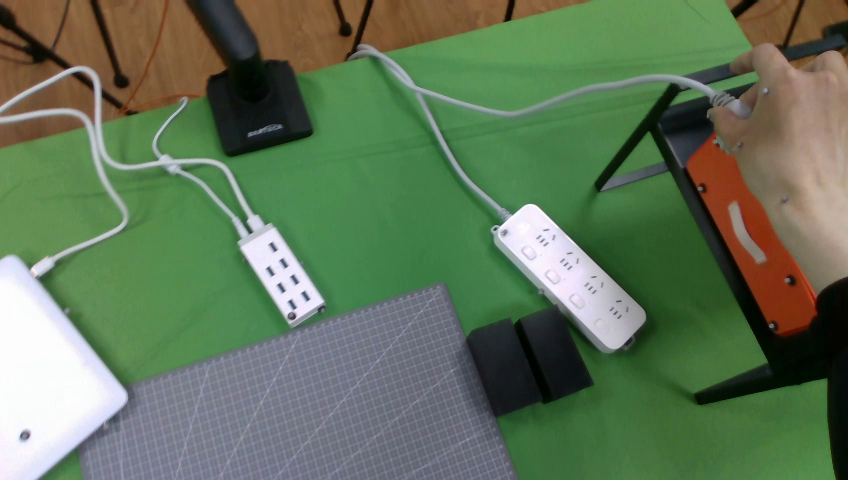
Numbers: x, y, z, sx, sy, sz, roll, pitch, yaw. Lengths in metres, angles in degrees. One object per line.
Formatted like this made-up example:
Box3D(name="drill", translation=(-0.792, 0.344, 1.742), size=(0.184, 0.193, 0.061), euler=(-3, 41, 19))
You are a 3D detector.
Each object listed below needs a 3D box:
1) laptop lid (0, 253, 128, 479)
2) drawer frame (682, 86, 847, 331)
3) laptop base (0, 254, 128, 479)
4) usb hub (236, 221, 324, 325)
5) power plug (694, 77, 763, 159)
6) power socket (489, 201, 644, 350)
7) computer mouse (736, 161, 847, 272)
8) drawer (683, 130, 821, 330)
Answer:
Box3D(name="laptop lid", translation=(-0.532, 0.204, 0.645), size=(0.356, 0.013, 0.241), euler=(-40, 80, -16))
Box3D(name="drawer frame", translation=(0.402, -0.041, 0.599), size=(0.214, 0.083, 0.200), euler=(-18, 73, -12))
Box3D(name="laptop base", translation=(-0.535, 0.207, 0.658), size=(0.354, 0.023, 0.235), euler=(-42, 81, -16))
Box3D(name="usb hub", translation=(-0.177, 0.040, 0.742), size=(0.049, 0.025, 0.124), euler=(-33, 76, -14))
Box3D(name="power plug", translation=(0.264, -0.107, 0.528), size=(0.035, 0.053, 0.072), euler=(-17, 59, 4))
Box3D(name="power socket", translation=(0.180, 0.043, 0.767), size=(0.072, 0.033, 0.225), euler=(-40, 78, -17))
Box3D(name="computer mouse", translation=(0.371, -0.027, 0.608), size=(0.063, 0.041, 0.116), euler=(-22, 72, -8))
Box3D(name="drawer", translation=(0.399, -0.038, 0.599), size=(0.212, 0.073, 0.193), euler=(-17, 73, -11))
